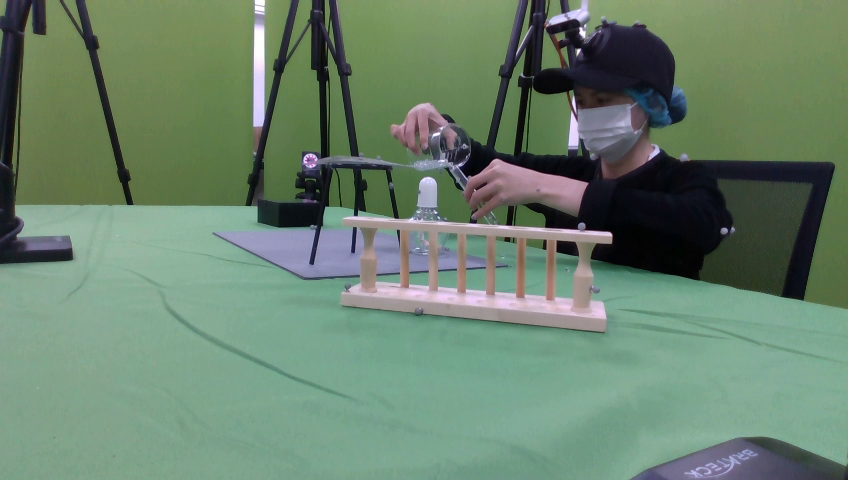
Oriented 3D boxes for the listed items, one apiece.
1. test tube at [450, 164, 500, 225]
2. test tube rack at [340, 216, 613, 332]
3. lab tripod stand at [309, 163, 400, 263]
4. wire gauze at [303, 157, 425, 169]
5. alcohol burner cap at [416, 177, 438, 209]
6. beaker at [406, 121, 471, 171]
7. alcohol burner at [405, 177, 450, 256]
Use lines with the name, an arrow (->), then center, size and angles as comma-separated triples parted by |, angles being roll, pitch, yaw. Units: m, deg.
test tube -> 0.082, -0.072, 0.977 | 0.017, 0.017, 0.149 | -3, 45, -34
test tube rack -> 0.048, 0.026, 0.568 | 0.242, 0.085, 0.067 | 4, 7, 13
lab tripod stand -> -0.091, -0.037, 0.813 | 0.148, 0.131, 0.148 | 1, 6, 0
wire gauze -> -0.082, -0.102, 0.799 | 0.126, 0.011, 0.121 | -1, 7, -30
alcohol burner cap -> 0.005, -0.072, 0.914 | 0.034, 0.048, 0.034 | 3, 10, 0
beaker -> 0.022, -0.157, 1.058 | 0.074, 0.084, 0.100 | 6, -5, -38
alcohol burner -> 0.004, -0.036, 0.917 | 0.078, 0.119, 0.078 | 3, 6, 0
